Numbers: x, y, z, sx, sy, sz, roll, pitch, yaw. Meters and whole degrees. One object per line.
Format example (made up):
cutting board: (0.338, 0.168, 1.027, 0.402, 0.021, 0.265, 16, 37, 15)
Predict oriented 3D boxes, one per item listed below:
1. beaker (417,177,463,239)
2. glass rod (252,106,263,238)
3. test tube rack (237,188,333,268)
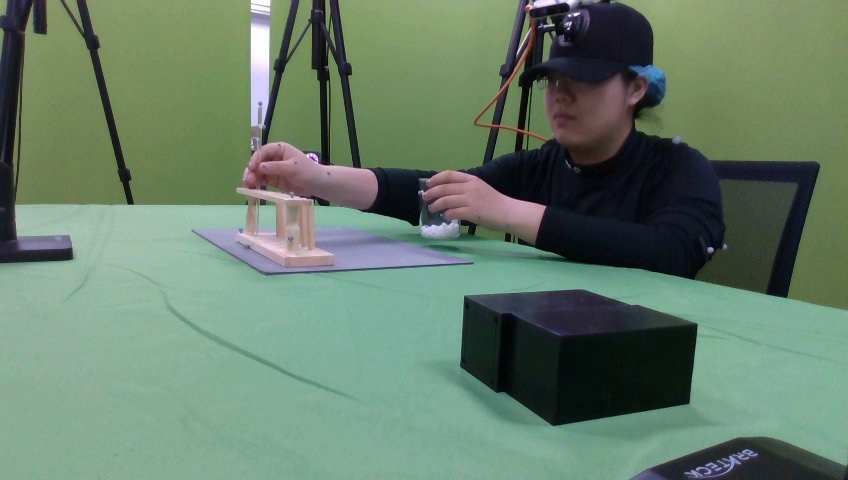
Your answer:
beaker: (0.030, -0.054, 1.010, 0.083, 0.100, 0.074, 6, 9, 41)
glass rod: (-0.249, -0.100, 0.905, 0.008, 0.199, 0.008, 4, 7, 0)
test tube rack: (-0.203, -0.024, 0.854, 0.067, 0.085, 0.241, -2, 8, -30)
